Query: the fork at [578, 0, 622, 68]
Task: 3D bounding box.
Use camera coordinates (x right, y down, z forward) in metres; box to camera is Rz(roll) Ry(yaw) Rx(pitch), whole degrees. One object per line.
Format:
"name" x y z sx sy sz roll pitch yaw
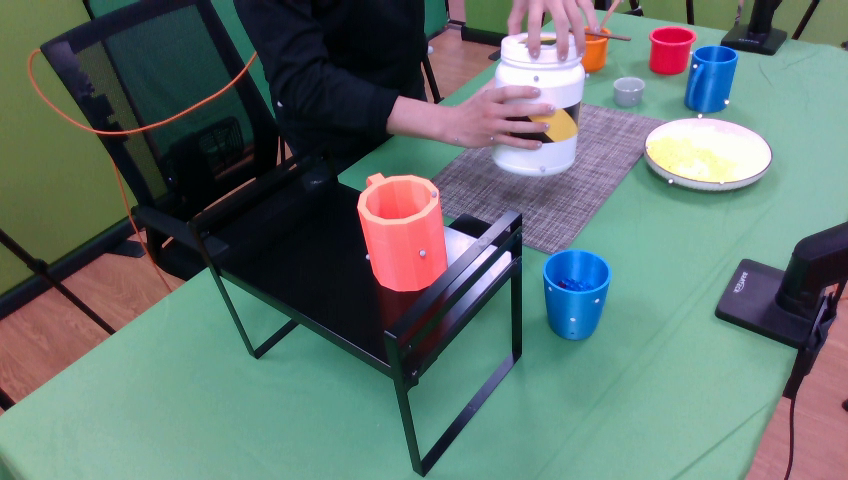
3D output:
"fork" 0.409 -0.484 1.381 0.028 0.019 0.207 37 101 46

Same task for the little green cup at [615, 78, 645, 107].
"little green cup" 0.426 -0.306 1.257 0.061 0.039 0.061 -4 40 4

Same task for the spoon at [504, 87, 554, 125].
"spoon" 0.227 -0.285 1.269 0.041 0.022 0.194 1 36 45

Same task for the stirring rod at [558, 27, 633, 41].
"stirring rod" 0.381 -0.463 1.356 0.175 0.006 0.014 21 47 30

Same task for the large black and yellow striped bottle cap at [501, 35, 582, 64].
"large black and yellow striped bottle cap" 0.169 -0.276 0.872 0.115 0.019 0.114 -1 29 1

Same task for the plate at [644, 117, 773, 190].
"plate" 0.495 -0.149 1.063 0.209 0.038 0.208 -5 40 4

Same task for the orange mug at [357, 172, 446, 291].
"orange mug" -0.030 -0.019 0.668 0.084 0.101 0.125 -23 47 -16

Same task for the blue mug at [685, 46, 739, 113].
"blue mug" 0.556 -0.311 1.190 0.117 0.106 0.081 -32 46 -25

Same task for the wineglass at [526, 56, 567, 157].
"wineglass" 0.222 -0.241 1.102 0.074 0.173 0.073 -5 41 5

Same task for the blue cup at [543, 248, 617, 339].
"blue cup" 0.199 0.076 0.797 0.092 0.100 0.092 -4 39 4

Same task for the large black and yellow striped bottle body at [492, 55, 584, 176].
"large black and yellow striped bottle body" 0.172 -0.204 0.916 0.131 0.184 0.130 -1 31 1
